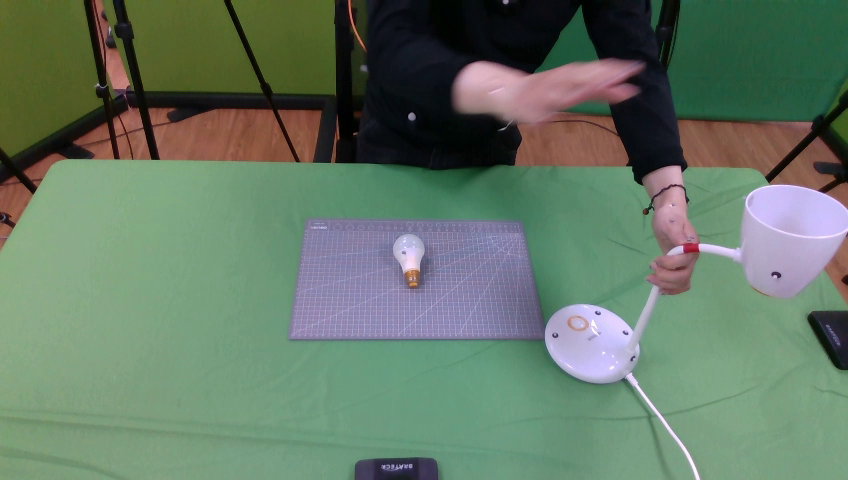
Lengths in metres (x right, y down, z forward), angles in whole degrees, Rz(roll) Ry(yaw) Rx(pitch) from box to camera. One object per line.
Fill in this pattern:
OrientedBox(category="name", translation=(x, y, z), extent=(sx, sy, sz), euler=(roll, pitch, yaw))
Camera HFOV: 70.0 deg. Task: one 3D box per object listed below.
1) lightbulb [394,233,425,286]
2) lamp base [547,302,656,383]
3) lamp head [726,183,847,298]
OrientedBox(category="lightbulb", translation=(-0.024, 0.037, 1.134), extent=(0.059, 0.060, 0.107), euler=(-4, 62, -7))
OrientedBox(category="lamp base", translation=(0.304, 0.127, 0.981), extent=(0.160, 0.181, 0.178), euler=(-33, 59, -29))
OrientedBox(category="lamp head", translation=(0.429, 0.007, 0.725), extent=(0.112, 0.123, 0.111), euler=(0, 40, 0))
